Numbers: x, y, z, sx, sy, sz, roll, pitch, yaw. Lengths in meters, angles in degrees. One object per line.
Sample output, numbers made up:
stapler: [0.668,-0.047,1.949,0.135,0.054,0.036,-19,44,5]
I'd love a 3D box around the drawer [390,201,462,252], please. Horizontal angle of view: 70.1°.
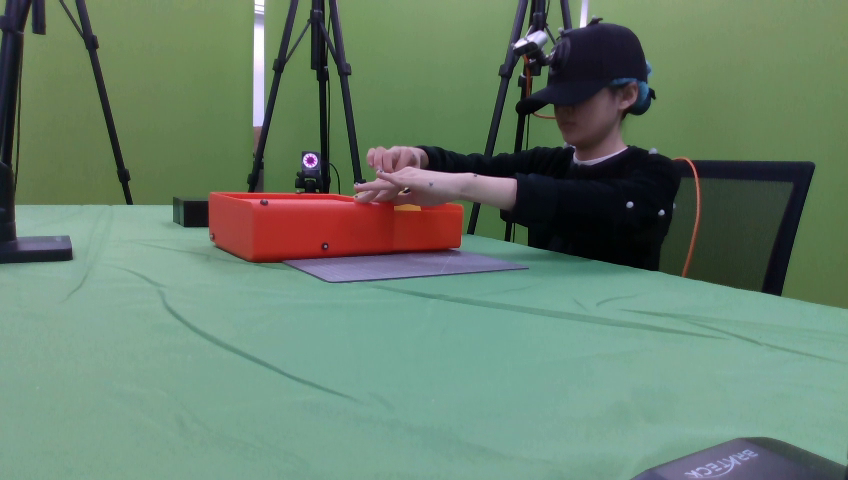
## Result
drawer: [-0.078,-0.028,0.974,0.213,0.073,0.193,-2,10,-34]

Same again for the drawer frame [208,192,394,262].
drawer frame: [-0.185,-0.026,0.900,0.215,0.082,0.200,-3,10,-35]

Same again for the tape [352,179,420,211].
tape: [-0.066,-0.056,0.995,0.117,0.053,0.116,-16,20,6]
